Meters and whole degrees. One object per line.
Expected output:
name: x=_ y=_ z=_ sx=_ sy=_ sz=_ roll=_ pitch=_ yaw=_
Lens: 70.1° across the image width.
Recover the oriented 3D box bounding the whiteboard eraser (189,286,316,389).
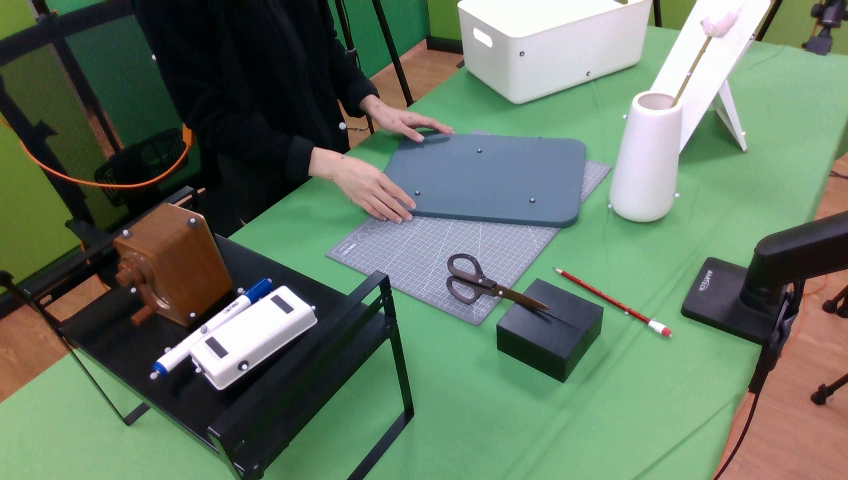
whiteboard eraser: x=-0.166 y=0.096 z=0.593 sx=0.113 sy=0.042 sz=0.055 roll=-36 pitch=47 yaw=-29

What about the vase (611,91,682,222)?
vase: x=0.348 y=-0.125 z=0.935 sx=0.098 sy=0.201 sz=0.097 roll=-3 pitch=40 yaw=3

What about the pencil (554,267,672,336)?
pencil: x=0.260 y=0.082 z=0.850 sx=0.012 sy=0.012 sz=0.192 roll=-33 pitch=46 yaw=-27

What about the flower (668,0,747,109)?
flower: x=0.354 y=-0.187 z=0.879 sx=0.038 sy=0.362 sz=0.044 roll=31 pitch=48 yaw=15

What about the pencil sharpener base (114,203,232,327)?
pencil sharpener base: x=-0.262 y=0.029 z=0.635 sx=0.061 sy=0.107 sz=0.077 roll=18 pitch=47 yaw=26

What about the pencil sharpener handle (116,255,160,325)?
pencil sharpener handle: x=-0.286 y=0.050 z=0.594 sx=0.035 sy=0.068 sz=0.031 roll=7 pitch=41 yaw=35

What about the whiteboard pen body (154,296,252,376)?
whiteboard pen body: x=-0.214 y=0.088 z=0.619 sx=0.017 sy=0.017 sz=0.141 roll=19 pitch=42 yaw=28

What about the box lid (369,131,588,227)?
box lid: x=0.107 y=-0.120 z=1.107 sx=0.370 sy=0.015 sz=0.263 roll=5 pitch=42 yaw=14

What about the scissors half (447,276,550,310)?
scissors half: x=0.098 y=0.077 z=0.827 sx=0.174 sy=0.040 sz=0.013 roll=6 pitch=14 yaw=44

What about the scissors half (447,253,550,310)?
scissors half: x=0.098 y=0.058 z=0.821 sx=0.173 sy=0.040 sz=0.013 roll=27 pitch=33 yaw=37

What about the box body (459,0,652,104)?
box body: x=0.291 y=-0.465 z=1.371 sx=0.365 sy=0.161 sz=0.252 roll=-22 pitch=42 yaw=-16

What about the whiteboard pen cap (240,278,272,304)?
whiteboard pen cap: x=-0.183 y=0.057 z=0.658 sx=0.018 sy=0.018 sz=0.033 roll=19 pitch=44 yaw=28

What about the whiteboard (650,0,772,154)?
whiteboard: x=0.543 y=-0.298 z=1.076 sx=0.144 sy=0.305 sz=0.216 roll=12 pitch=40 yaw=-7
